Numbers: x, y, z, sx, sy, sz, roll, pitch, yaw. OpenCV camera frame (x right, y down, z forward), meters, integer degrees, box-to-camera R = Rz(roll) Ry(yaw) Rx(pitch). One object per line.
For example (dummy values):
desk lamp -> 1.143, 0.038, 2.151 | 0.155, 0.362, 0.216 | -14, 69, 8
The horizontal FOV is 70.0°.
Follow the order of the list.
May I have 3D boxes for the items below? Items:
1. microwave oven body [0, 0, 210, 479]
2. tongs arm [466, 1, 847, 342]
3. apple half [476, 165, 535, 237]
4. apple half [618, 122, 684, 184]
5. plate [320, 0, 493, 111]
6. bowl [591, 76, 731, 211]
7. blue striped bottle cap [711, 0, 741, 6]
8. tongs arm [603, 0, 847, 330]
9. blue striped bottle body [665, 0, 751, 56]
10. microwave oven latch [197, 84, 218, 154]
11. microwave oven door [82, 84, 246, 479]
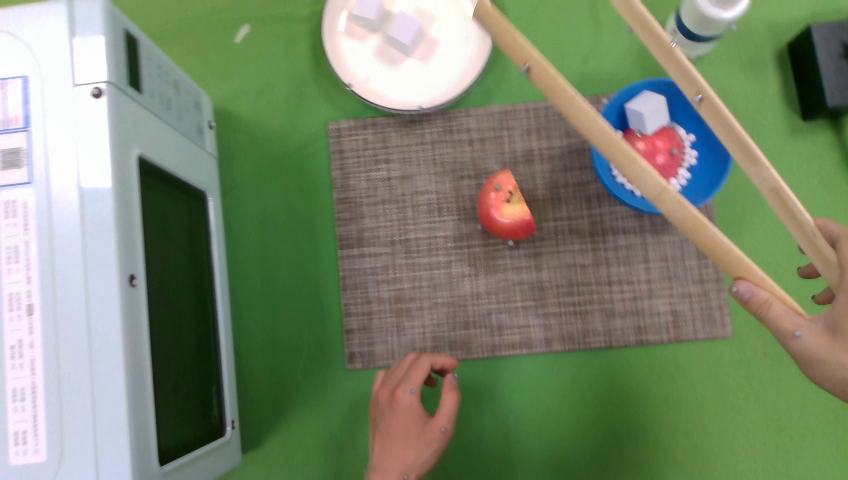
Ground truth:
microwave oven body -> -0.394, 0.038, 0.603 | 0.326, 0.261, 0.440 | -7, 84, 0
tongs arm -> 0.171, -0.059, 0.480 | 0.028, 0.028, 0.386 | -38, 78, -27
apple half -> 0.087, -0.038, 0.691 | 0.053, 0.075, 0.080 | -25, 86, 3
apple half -> 0.260, -0.100, 0.685 | 0.081, 0.033, 0.081 | 0, 82, 3
plate -> -0.020, -0.255, 0.741 | 0.207, 0.039, 0.207 | 0, 84, 1
bowl -> 0.258, -0.100, 0.690 | 0.151, 0.077, 0.151 | 0, 83, 2
blue striped bottle cap -> 0.323, -0.272, 0.639 | 0.044, 0.020, 0.044 | 0, 85, 2
tongs arm -> 0.230, -0.095, 0.504 | 0.051, 0.026, 0.382 | -28, 74, -21
blue striped bottle body -> 0.325, -0.264, 0.689 | 0.063, 0.121, 0.063 | 0, 82, 3
microwave oven latch -> -0.264, -0.141, 0.717 | 0.030, 0.029, 0.079 | -7, 84, 0
microwave oven door -> -0.244, 0.061, 0.590 | 0.039, 0.244, 0.354 | -7, 83, 1
